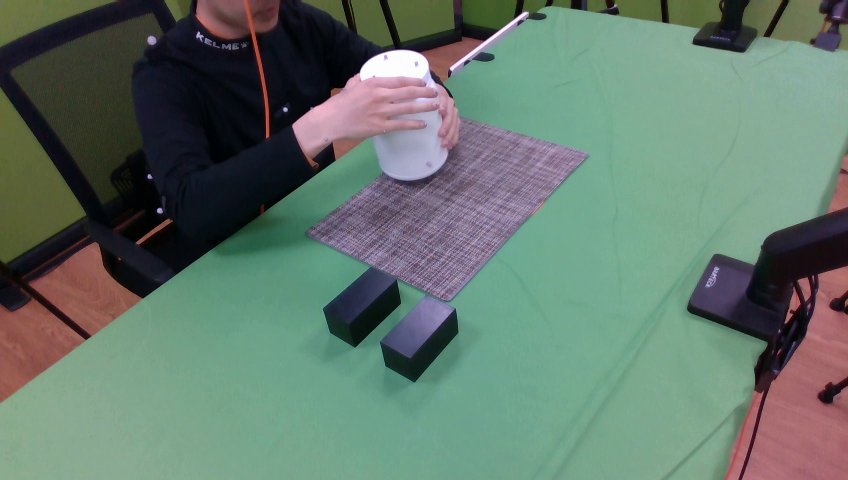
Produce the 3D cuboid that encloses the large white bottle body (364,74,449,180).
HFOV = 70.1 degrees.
[{"bbox_3d":[-0.031,-0.212,1.055,0.130,0.185,0.130,-6,46,7],"label":"large white bottle body"}]

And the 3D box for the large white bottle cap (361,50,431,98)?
[{"bbox_3d":[-0.046,-0.273,0.991,0.115,0.018,0.114,-5,48,6],"label":"large white bottle cap"}]
